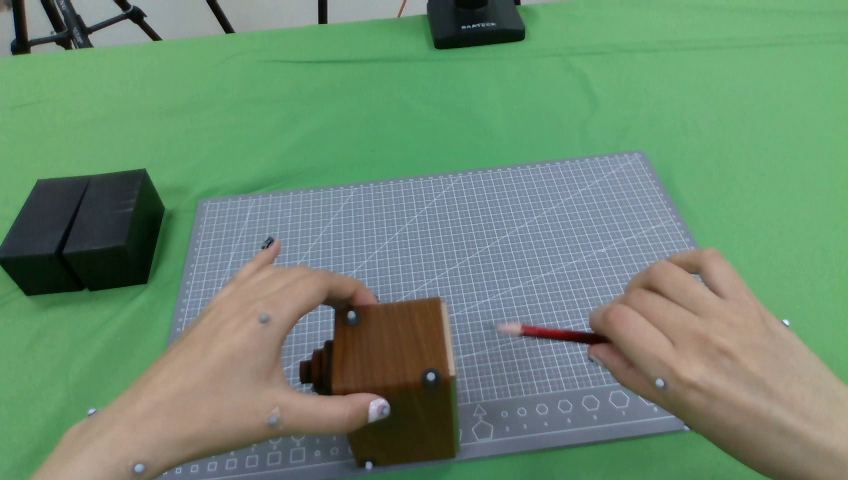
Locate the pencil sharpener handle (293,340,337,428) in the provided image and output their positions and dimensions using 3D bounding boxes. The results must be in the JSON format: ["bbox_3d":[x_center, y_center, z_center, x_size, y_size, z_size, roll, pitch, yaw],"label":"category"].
[{"bbox_3d":[-0.071,0.094,0.377,0.030,0.068,0.035,-6,36,-1],"label":"pencil sharpener handle"}]

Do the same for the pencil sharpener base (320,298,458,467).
[{"bbox_3d":[-0.020,0.095,0.389,0.077,0.108,0.060,-6,47,-1],"label":"pencil sharpener base"}]

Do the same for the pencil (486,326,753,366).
[{"bbox_3d":[0.124,0.063,0.365,0.195,0.012,0.012,9,43,-21],"label":"pencil"}]
